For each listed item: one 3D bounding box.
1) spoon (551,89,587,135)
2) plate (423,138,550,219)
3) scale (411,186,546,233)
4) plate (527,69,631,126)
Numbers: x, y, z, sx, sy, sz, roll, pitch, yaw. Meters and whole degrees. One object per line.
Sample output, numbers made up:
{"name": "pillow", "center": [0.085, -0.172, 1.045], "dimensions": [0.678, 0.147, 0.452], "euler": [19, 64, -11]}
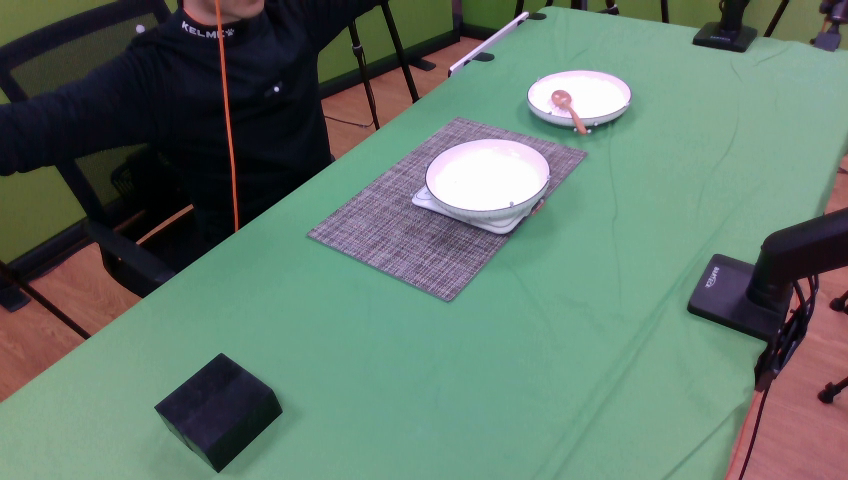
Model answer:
{"name": "spoon", "center": [0.286, -0.253, 1.184], "dimensions": [0.041, 0.022, 0.192], "euler": [-7, 33, 1]}
{"name": "plate", "center": [0.104, -0.099, 1.005], "dimensions": [0.207, 0.039, 0.206], "euler": [-4, 41, 4]}
{"name": "scale", "center": [0.092, -0.083, 1.039], "dimensions": [0.199, 0.032, 0.149], "euler": [22, 48, 30]}
{"name": "plate", "center": [0.317, -0.289, 1.246], "dimensions": [0.209, 0.038, 0.208], "euler": [-4, 41, 4]}
